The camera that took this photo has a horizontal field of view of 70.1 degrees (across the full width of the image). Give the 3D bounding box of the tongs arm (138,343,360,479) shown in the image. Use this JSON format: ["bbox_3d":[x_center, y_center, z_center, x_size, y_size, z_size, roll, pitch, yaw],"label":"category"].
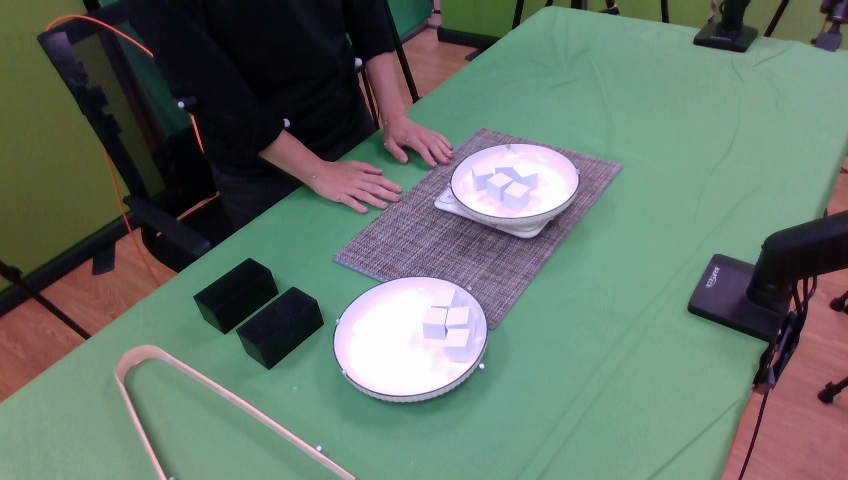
[{"bbox_3d":[-0.228,0.208,0.753,0.384,0.028,0.028,21,51,29],"label":"tongs arm"}]

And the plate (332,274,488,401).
[{"bbox_3d":[-0.017,0.130,0.808,0.207,0.039,0.206,-4,41,4],"label":"plate"}]

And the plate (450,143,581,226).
[{"bbox_3d":[0.148,-0.087,0.986,0.209,0.038,0.208,-4,41,4],"label":"plate"}]

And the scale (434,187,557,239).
[{"bbox_3d":[0.132,-0.074,1.025,0.199,0.032,0.149,22,48,30],"label":"scale"}]

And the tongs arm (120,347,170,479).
[{"bbox_3d":[-0.291,0.251,0.707,0.051,0.026,0.381,-32,45,-26],"label":"tongs arm"}]
